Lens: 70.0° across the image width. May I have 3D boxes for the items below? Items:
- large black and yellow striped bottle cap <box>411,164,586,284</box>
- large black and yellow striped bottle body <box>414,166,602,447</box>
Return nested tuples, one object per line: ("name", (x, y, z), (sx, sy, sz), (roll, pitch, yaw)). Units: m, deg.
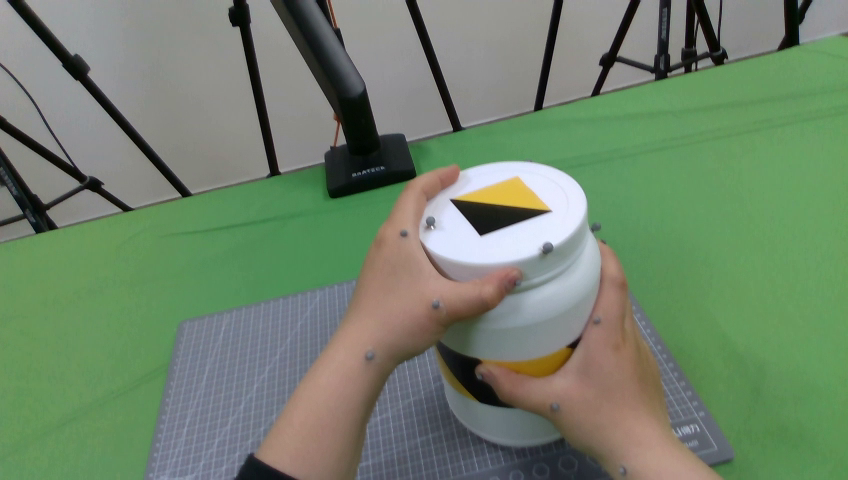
("large black and yellow striped bottle cap", (0.048, -0.015, 0.400), (0.115, 0.019, 0.114), (-7, 37, 6))
("large black and yellow striped bottle body", (0.065, 0.050, 0.452), (0.130, 0.186, 0.129), (-8, 38, 7))
